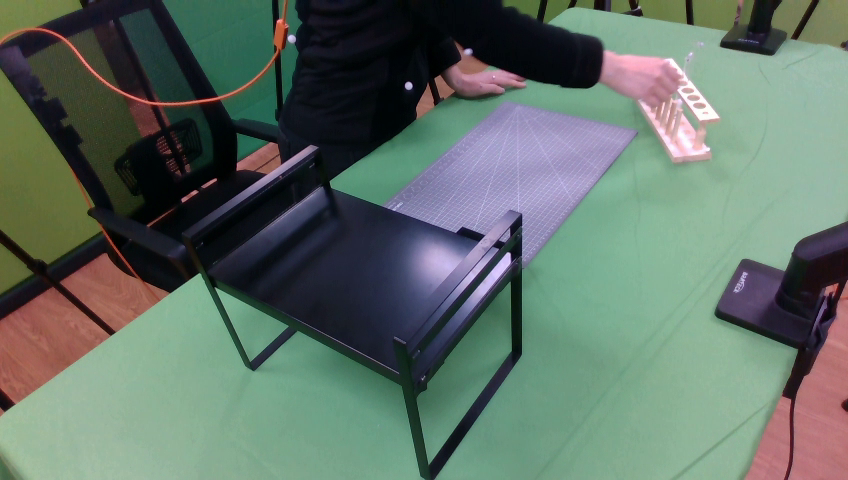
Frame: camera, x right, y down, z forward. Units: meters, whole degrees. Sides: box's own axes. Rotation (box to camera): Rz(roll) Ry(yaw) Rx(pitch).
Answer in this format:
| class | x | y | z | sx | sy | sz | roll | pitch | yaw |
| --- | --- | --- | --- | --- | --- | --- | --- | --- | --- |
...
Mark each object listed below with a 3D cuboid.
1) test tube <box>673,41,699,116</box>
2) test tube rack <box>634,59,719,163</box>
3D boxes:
| class | x | y | z | sx | sy | sz | roll | pitch | yaw |
| --- | --- | --- | --- | --- | --- | --- | --- | --- | --- |
| test tube | 0.484 | -0.297 | 1.124 | 0.017 | 0.151 | 0.017 | -1 | 44 | 2 |
| test tube rack | 0.471 | -0.250 | 1.148 | 0.067 | 0.085 | 0.241 | -6 | 40 | 3 |
